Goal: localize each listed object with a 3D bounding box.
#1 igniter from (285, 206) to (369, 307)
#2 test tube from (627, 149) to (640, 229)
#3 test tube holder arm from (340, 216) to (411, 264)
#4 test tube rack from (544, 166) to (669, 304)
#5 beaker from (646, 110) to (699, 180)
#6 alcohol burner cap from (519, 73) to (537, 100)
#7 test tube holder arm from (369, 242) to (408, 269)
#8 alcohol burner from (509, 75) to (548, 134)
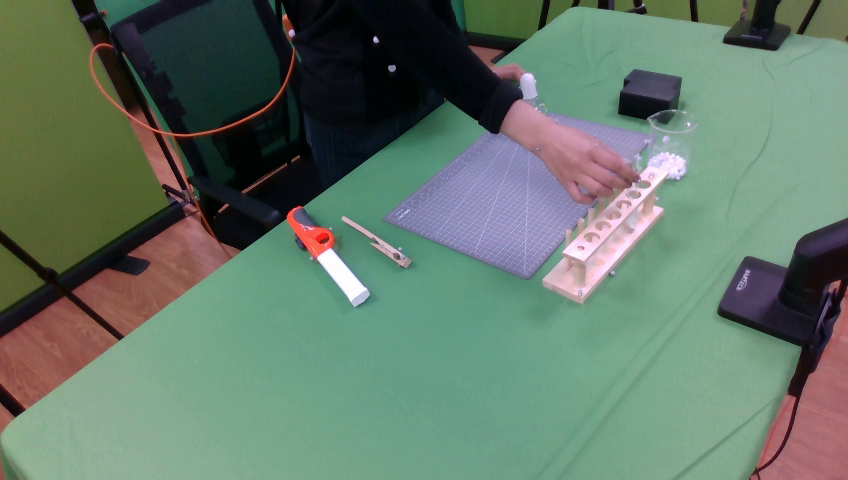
[{"bbox_3d":[-0.166,0.018,0.986,0.057,0.025,0.274,-34,45,-12],"label":"igniter"},{"bbox_3d":[0.305,-0.070,0.881,0.017,0.151,0.017,-9,45,9],"label":"test tube"},{"bbox_3d":[-0.083,-0.002,1.000,0.177,0.015,0.013,33,86,40],"label":"test tube holder arm"},{"bbox_3d":[0.274,-0.018,0.903,0.066,0.085,0.243,26,51,35],"label":"test tube rack"},{"bbox_3d":[0.417,-0.160,1.032,0.083,0.101,0.074,25,51,35],"label":"beaker"},{"bbox_3d":[0.198,-0.298,1.163,0.034,0.048,0.033,-10,37,8],"label":"alcohol burner cap"},{"bbox_3d":[-0.057,0.021,0.971,0.087,0.015,0.010,34,87,40],"label":"test tube holder arm"},{"bbox_3d":[0.205,-0.270,1.186,0.078,0.119,0.077,-5,42,5],"label":"alcohol burner"}]
